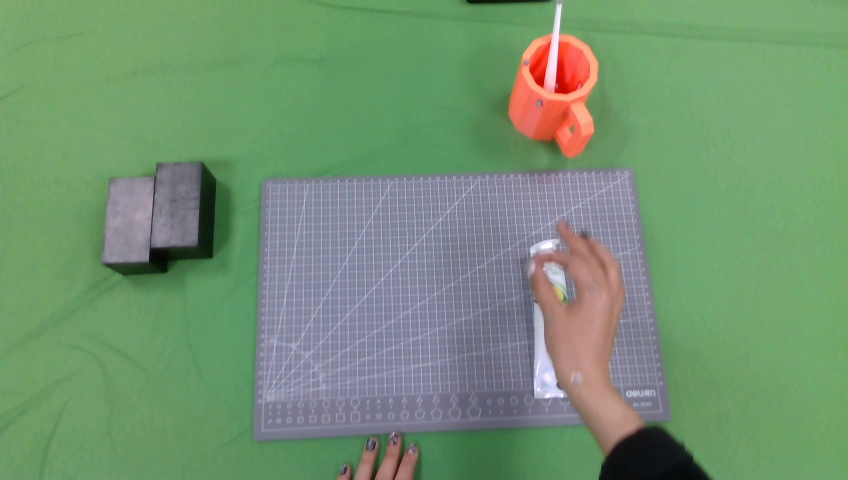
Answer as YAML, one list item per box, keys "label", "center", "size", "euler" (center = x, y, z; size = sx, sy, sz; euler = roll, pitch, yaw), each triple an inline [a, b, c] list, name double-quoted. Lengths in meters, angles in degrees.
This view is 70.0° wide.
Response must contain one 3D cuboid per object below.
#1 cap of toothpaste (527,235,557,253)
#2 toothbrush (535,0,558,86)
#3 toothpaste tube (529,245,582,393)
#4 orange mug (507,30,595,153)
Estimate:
- label: "cap of toothpaste"
  center: [0.136, 0.005, 0.692]
  size: [0.037, 0.037, 0.011]
  euler: [-14, 71, -6]
- label: "toothbrush"
  center: [0.140, -0.216, 0.686]
  size: [0.014, 0.183, 0.016]
  euler: [-9, 38, -20]
- label: "toothpaste tube"
  center: [0.140, 0.085, 0.676]
  size: [0.055, 0.035, 0.164]
  euler: [-5, 78, 4]
- label: "orange mug"
  center: [0.156, -0.169, 0.715]
  size: [0.083, 0.101, 0.125]
  euler: [-23, 71, -8]
